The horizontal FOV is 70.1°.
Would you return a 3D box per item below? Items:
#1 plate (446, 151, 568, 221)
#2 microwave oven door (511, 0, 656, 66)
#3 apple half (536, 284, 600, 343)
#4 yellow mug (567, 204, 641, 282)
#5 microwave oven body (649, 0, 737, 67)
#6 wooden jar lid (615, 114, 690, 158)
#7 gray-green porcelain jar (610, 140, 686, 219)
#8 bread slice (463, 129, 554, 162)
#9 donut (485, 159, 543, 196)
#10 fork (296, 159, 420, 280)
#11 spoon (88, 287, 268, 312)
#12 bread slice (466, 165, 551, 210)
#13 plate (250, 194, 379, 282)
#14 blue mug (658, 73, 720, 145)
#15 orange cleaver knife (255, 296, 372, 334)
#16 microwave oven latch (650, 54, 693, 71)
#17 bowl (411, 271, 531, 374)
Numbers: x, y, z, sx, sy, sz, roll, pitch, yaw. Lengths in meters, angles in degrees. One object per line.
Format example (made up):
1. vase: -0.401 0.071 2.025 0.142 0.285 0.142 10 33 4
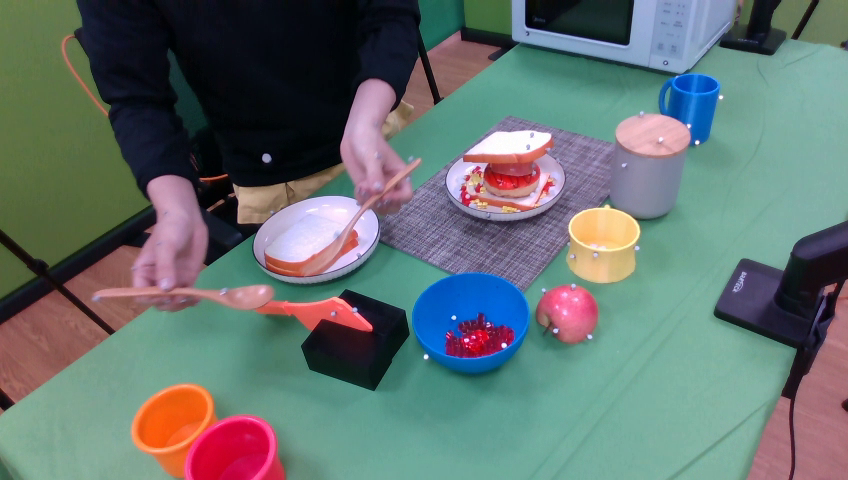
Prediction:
1. plate: 0.142 -0.097 1.045 0.207 0.039 0.206 -4 41 4
2. microwave oven door: 0.350 -0.539 1.348 0.353 0.245 0.039 24 50 31
3. apple half: 0.196 0.091 0.815 0.075 0.053 0.080 -22 42 -20
4. yellow mug: 0.268 -0.005 0.905 0.099 0.064 0.130 6 42 16
5. microwave oven body: 0.475 -0.602 1.411 0.438 0.261 0.327 23 50 32
6. wooden jar lid: 0.347 -0.155 0.923 0.108 0.021 0.108 -3 44 4
7. gray-green porcelain jar: 0.354 -0.106 0.964 0.106 0.127 0.105 -4 41 4
8. bread slice: 0.143 -0.154 0.974 0.130 0.019 0.105 9 35 38
9. donut: 0.151 -0.112 1.018 0.099 0.048 0.098 -4 40 4
10. fork: -0.076 -0.027 0.729 0.207 0.019 0.028 -49 34 -11
11. spoon: -0.284 0.064 0.708 0.195 0.021 0.041 7 39 -21
12. bread slice: 0.141 -0.093 1.041 0.133 0.018 0.107 8 42 20
13. plate: -0.174 -0.001 0.984 0.209 0.038 0.208 -3 40 3
14. blue mug: 0.483 -0.250 1.127 0.082 0.106 0.115 -26 44 -19
15. orange cleaver knife: -0.159 0.103 0.828 0.210 0.078 0.012 -3 43 38
16. microwave oven latch: 0.531 -0.386 1.301 0.078 0.029 0.030 26 51 33
17. bowl: 0.062 0.119 0.780 0.151 0.077 0.150 -4 40 4
